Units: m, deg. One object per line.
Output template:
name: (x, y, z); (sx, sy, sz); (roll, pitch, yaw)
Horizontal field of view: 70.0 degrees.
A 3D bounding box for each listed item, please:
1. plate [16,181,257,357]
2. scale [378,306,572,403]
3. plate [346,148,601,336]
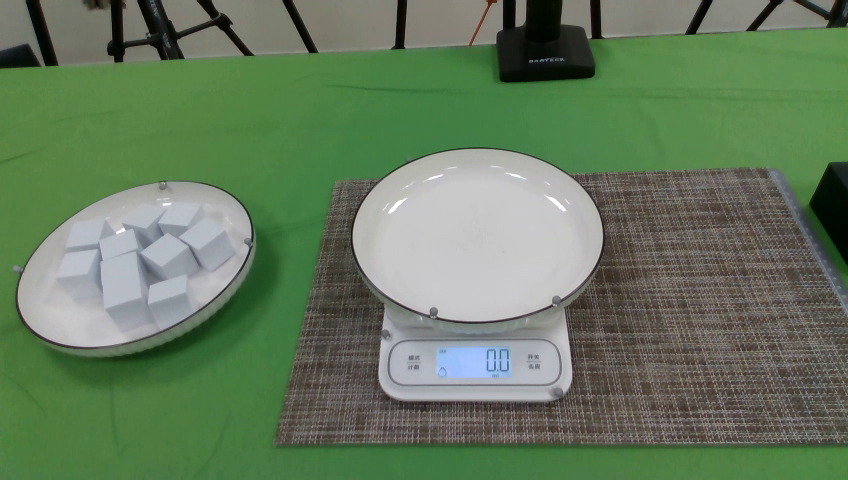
plate: (-0.257, 0.025, 0.561); (0.209, 0.038, 0.207); (-2, 45, 3)
scale: (0.042, 0.043, 0.513); (0.148, 0.032, 0.199); (-1, 46, 5)
plate: (0.040, 0.000, 0.510); (0.207, 0.039, 0.205); (-2, 46, 2)
